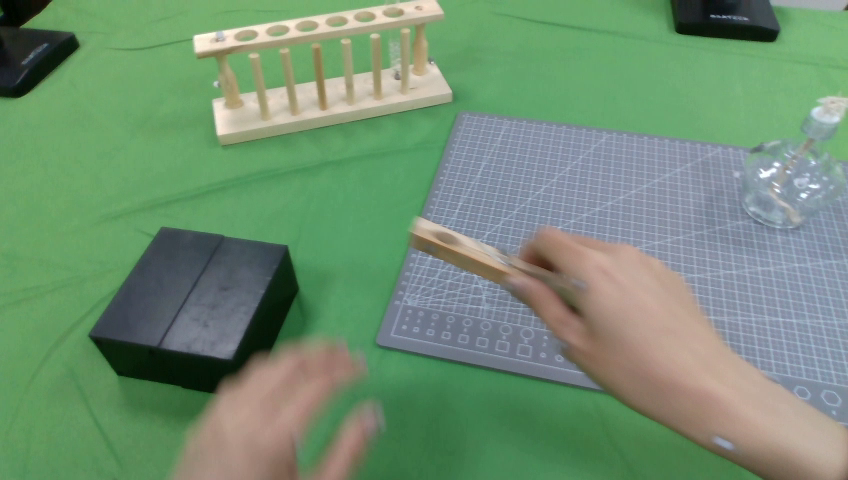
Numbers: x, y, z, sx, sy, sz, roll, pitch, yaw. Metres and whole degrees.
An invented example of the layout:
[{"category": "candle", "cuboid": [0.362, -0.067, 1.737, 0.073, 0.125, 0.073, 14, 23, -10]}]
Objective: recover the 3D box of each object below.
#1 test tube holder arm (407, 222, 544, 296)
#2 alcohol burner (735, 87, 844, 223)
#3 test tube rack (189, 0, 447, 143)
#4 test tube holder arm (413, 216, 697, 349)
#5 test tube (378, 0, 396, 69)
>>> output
[{"category": "test tube holder arm", "cuboid": [0.031, 0.012, 0.367, 0.087, 0.015, 0.010, 22, 53, 9]}, {"category": "alcohol burner", "cuboid": [0.304, -0.072, 0.494, 0.078, 0.120, 0.077, 0, 46, 0]}, {"category": "test tube rack", "cuboid": [-0.100, -0.176, 0.615, 0.243, 0.086, 0.066, -14, 49, -12]}, {"category": "test tube holder arm", "cuboid": [0.074, 0.024, 0.363, 0.178, 0.015, 0.013, 21, 53, 9]}, {"category": "test tube", "cuboid": [-0.038, -0.241, 0.606, 0.017, 0.151, 0.017, -2, 45, 2]}]
